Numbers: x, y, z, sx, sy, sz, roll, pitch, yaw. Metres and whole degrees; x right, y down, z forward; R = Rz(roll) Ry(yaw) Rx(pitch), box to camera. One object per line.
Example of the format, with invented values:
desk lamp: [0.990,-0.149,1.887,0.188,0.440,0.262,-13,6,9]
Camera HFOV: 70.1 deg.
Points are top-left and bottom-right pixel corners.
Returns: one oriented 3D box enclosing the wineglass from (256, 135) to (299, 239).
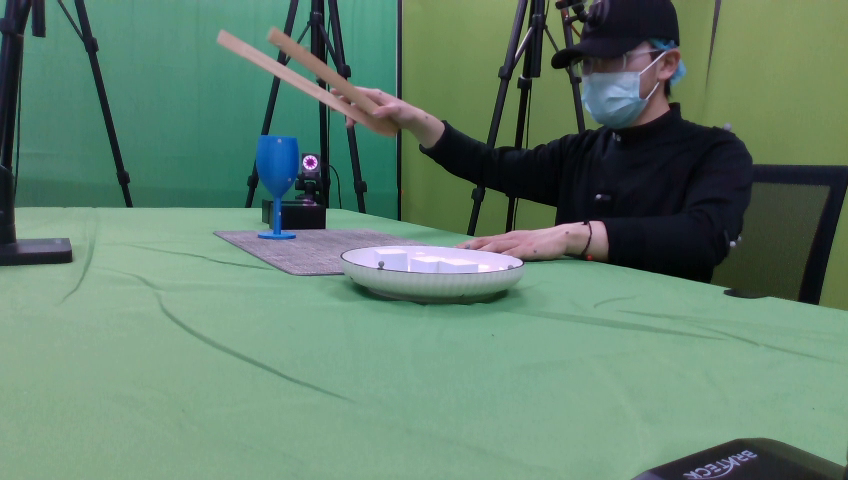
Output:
wineglass: [-0.252,-0.092,1.035,0.074,0.172,0.073,2,7,0]

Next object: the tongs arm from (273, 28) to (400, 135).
tongs arm: [-0.146,-0.272,1.090,0.050,0.026,0.387,11,-7,33]

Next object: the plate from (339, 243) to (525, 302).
plate: [0.008,0.035,0.682,0.209,0.038,0.209,3,7,0]

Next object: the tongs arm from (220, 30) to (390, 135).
tongs arm: [-0.206,-0.285,1.135,0.028,0.027,0.390,4,-12,44]
